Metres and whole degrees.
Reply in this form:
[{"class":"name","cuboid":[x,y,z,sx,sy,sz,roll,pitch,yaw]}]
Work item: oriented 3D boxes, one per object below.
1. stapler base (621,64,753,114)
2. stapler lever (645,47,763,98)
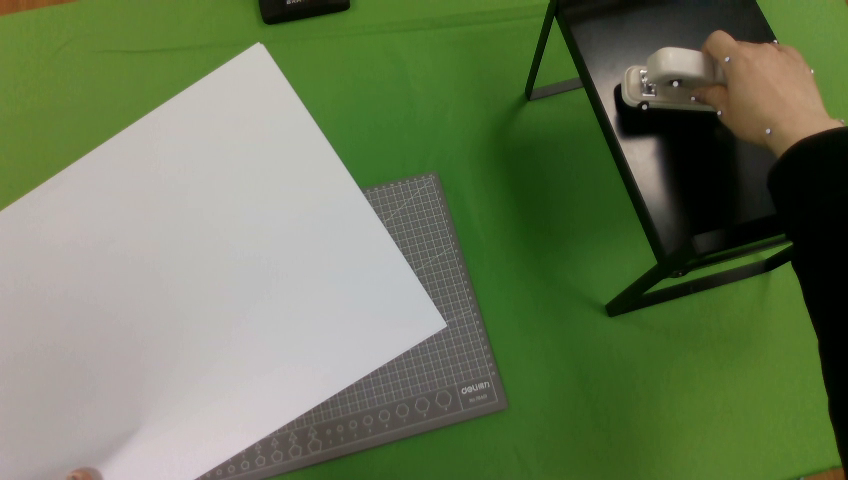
[{"class":"stapler base","cuboid":[0.253,-0.147,0.573,0.131,0.024,0.041,3,83,-7]},{"class":"stapler lever","cuboid":[0.258,-0.151,0.549,0.118,0.040,0.027,3,82,-7]}]
